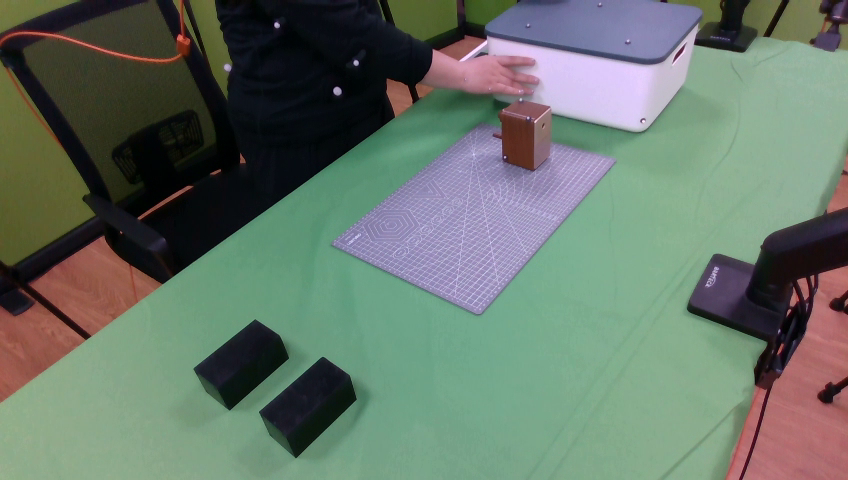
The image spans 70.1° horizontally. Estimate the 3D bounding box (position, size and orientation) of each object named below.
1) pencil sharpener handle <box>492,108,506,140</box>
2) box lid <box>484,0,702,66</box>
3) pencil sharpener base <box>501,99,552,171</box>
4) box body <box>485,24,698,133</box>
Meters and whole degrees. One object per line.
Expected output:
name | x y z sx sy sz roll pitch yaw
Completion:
pencil sharpener handle | 0.141 -0.216 1.114 0.030 0.068 0.036 23 41 32
box lid | 0.333 -0.428 1.202 0.368 0.015 0.264 21 48 30
pencil sharpener base | 0.184 -0.191 1.097 0.076 0.107 0.061 23 49 32
box body | 0.340 -0.373 1.251 0.361 0.161 0.255 21 48 30
